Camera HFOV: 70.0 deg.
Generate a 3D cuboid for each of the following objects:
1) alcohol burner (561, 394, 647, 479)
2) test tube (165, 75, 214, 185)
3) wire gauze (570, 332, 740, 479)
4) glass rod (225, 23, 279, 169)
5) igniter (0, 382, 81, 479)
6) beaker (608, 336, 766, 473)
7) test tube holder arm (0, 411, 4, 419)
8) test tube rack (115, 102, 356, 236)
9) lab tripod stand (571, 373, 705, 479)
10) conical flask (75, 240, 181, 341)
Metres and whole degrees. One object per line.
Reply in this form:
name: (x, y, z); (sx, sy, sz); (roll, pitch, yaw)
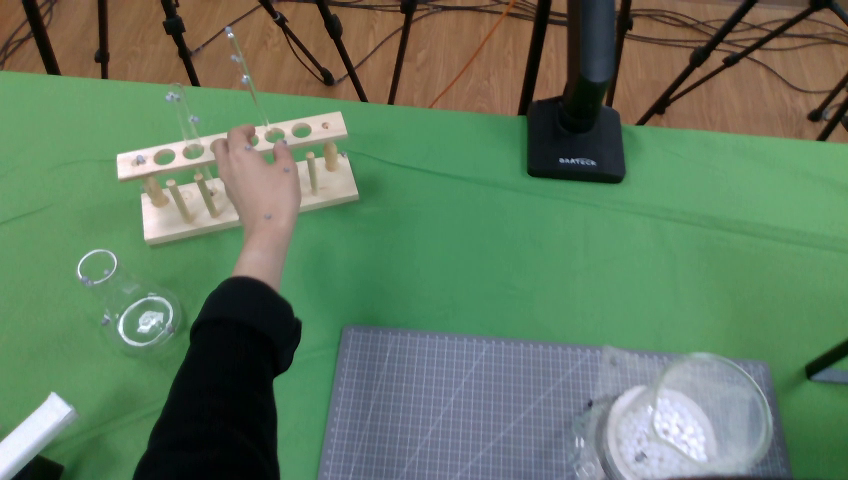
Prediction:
alcohol burner: (0.166, 0.171, 0.540); (0.078, 0.120, 0.077); (2, 59, -3)
test tube: (-0.247, -0.112, 0.646); (0.017, 0.151, 0.017); (2, 54, -2)
wire gauze: (0.184, 0.142, 0.469); (0.121, 0.011, 0.124); (18, 59, 5)
glass rod: (-0.178, -0.142, 0.647); (0.008, 0.201, 0.008); (-2, 53, 3)
igniter: (-0.401, 0.229, 0.483); (0.057, 0.025, 0.276); (29, 62, 24)
beaker: (0.174, 0.121, 0.425); (0.084, 0.101, 0.073); (-16, 63, -11)
test tube holder arm: (-0.400, 0.180, 0.514); (0.087, 0.015, 0.010); (-45, 103, -23)
test tube rack: (-0.206, -0.080, 0.687); (0.243, 0.086, 0.066); (-14, 61, -10)
lab tripod stand: (0.176, 0.179, 0.524); (0.148, 0.132, 0.147); (2, 59, -3)
conical flask: (-0.293, 0.045, 0.592); (0.075, 0.123, 0.074); (1, 60, -1)
